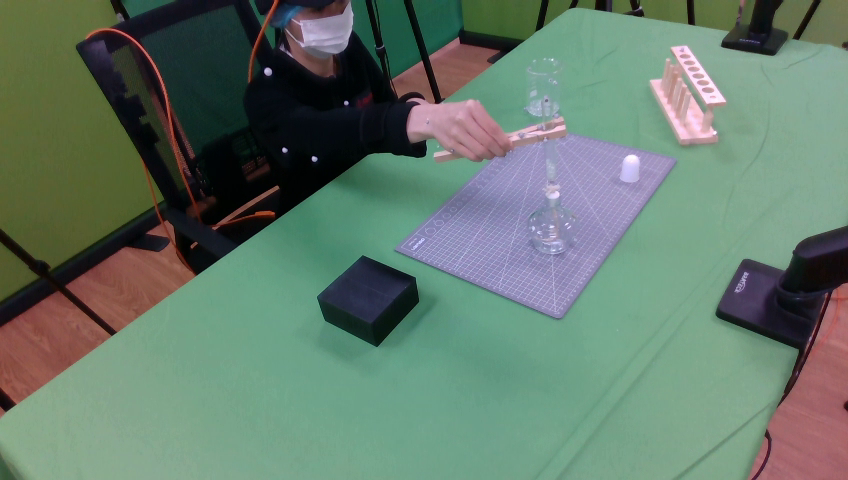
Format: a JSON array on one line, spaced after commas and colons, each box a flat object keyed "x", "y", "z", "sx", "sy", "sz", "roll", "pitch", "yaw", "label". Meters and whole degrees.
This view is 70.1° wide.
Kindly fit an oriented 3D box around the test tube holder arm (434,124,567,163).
[{"x": 0.099, "y": -0.127, "z": 0.799, "sx": 0.178, "sy": 0.015, "sz": 0.013, "roll": -11, "pitch": 51, "yaw": 15, "label": "test tube holder arm"}]

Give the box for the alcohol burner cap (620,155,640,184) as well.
[{"x": 0.358, "y": -0.124, "z": 1.047, "sx": 0.034, "sy": 0.048, "sz": 0.033, "roll": -4, "pitch": 40, "yaw": 4, "label": "alcohol burner cap"}]

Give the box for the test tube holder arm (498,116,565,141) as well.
[{"x": 0.141, "y": -0.141, "z": 0.793, "sx": 0.087, "sy": 0.015, "sz": 0.010, "roll": -17, "pitch": 50, "yaw": 10, "label": "test tube holder arm"}]

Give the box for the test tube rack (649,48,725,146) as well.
[{"x": 0.508, "y": -0.285, "z": 1.186, "sx": 0.067, "sy": 0.085, "sz": 0.241, "roll": -4, "pitch": 40, "yaw": 6, "label": "test tube rack"}]

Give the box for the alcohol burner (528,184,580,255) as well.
[{"x": 0.196, "y": -0.036, "z": 0.911, "sx": 0.078, "sy": 0.119, "sz": 0.077, "roll": -6, "pitch": 41, "yaw": 5, "label": "alcohol burner"}]

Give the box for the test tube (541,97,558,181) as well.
[{"x": 0.168, "y": -0.130, "z": 0.805, "sx": 0.017, "sy": 0.151, "sz": 0.017, "roll": -7, "pitch": 54, "yaw": 10, "label": "test tube"}]

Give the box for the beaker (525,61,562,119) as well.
[{"x": 0.248, "y": -0.308, "z": 1.246, "sx": 0.073, "sy": 0.101, "sz": 0.084, "roll": 29, "pitch": 52, "yaw": 36, "label": "beaker"}]
